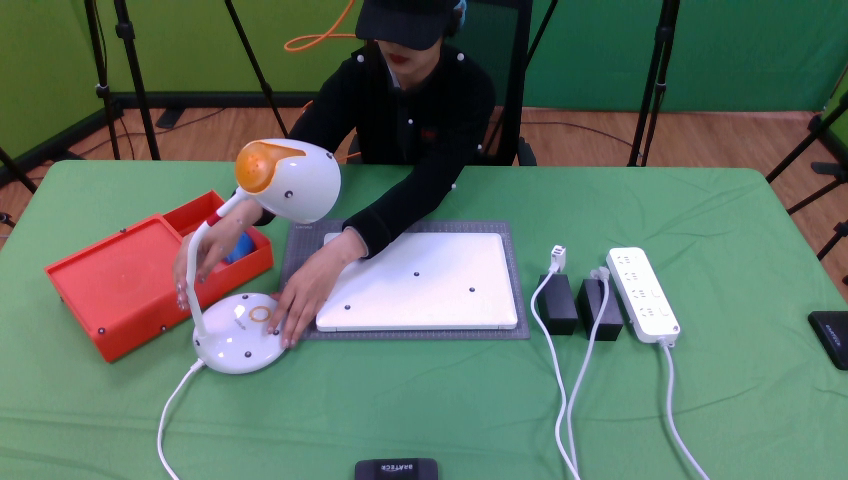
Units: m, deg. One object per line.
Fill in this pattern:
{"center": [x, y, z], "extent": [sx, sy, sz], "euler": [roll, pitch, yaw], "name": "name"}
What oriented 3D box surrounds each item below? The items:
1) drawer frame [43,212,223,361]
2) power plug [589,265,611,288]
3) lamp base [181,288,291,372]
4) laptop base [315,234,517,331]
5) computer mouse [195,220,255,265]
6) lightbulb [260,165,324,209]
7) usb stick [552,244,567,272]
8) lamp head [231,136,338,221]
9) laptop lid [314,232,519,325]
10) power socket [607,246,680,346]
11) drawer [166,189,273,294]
{"center": [-0.497, 0.073, 1.049], "extent": [0.213, 0.083, 0.200], "euler": [-35, 57, -31], "name": "drawer frame"}
{"center": [0.318, 0.073, 1.108], "extent": [0.035, 0.053, 0.072], "euler": [26, 33, 13], "name": "power plug"}
{"center": [-0.308, 0.108, 0.958], "extent": [0.160, 0.181, 0.179], "euler": [30, 55, 22], "name": "lamp base"}
{"center": [-0.016, 0.074, 1.124], "extent": [0.355, 0.023, 0.234], "euler": [0, 42, -4], "name": "laptop base"}
{"center": [-0.381, -0.001, 1.153], "extent": [0.116, 0.041, 0.063], "euler": [29, 51, 27], "name": "computer mouse"}
{"center": [-0.178, -0.075, 0.811], "extent": [0.059, 0.059, 0.108], "euler": [35, 10, 26], "name": "lightbulb"}
{"center": [0.251, 0.039, 1.124], "extent": [0.021, 0.059, 0.027], "euler": [14, 48, 25], "name": "usb stick"}
{"center": [-0.193, -0.084, 0.792], "extent": [0.112, 0.112, 0.123], "euler": [35, 14, 27], "name": "lamp head"}
{"center": [-0.015, 0.065, 1.118], "extent": [0.357, 0.013, 0.240], "euler": [1, 43, -3], "name": "laptop lid"}
{"center": [0.403, 0.096, 1.123], "extent": [0.072, 0.033, 0.225], "euler": [-3, 46, -5], "name": "power socket"}
{"center": [-0.419, 0.022, 1.108], "extent": [0.193, 0.073, 0.211], "euler": [37, 55, 27], "name": "drawer"}
